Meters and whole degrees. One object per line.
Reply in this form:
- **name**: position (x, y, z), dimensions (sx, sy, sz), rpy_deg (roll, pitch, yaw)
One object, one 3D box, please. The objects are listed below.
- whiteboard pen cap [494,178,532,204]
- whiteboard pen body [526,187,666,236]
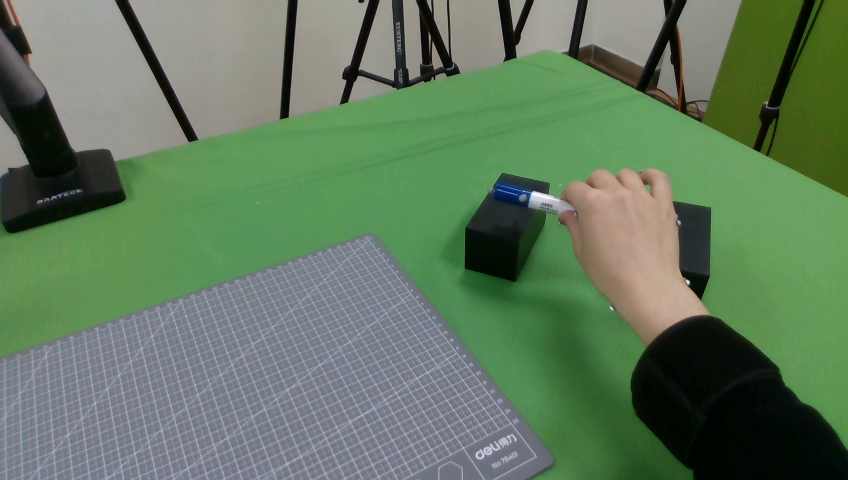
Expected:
- **whiteboard pen cap**: position (0.078, -0.042, 0.527), dimensions (0.033, 0.018, 0.018), rpy_deg (18, 42, 12)
- **whiteboard pen body**: position (0.133, -0.027, 0.515), dimensions (0.140, 0.017, 0.017), rpy_deg (16, 42, 12)
